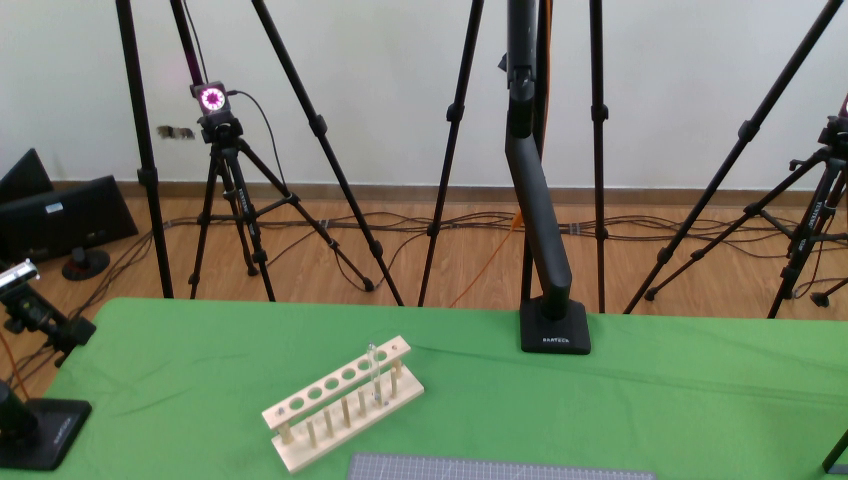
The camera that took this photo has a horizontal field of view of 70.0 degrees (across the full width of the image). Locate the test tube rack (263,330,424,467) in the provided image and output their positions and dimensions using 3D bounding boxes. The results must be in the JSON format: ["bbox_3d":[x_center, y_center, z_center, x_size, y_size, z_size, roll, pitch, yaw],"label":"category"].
[{"bbox_3d":[-0.119,0.243,0.949,0.242,0.086,0.066,-26,46,-25],"label":"test tube rack"}]

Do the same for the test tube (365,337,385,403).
[{"bbox_3d":[-0.075,0.201,0.927,0.017,0.151,0.017,-2,41,2],"label":"test tube"}]
